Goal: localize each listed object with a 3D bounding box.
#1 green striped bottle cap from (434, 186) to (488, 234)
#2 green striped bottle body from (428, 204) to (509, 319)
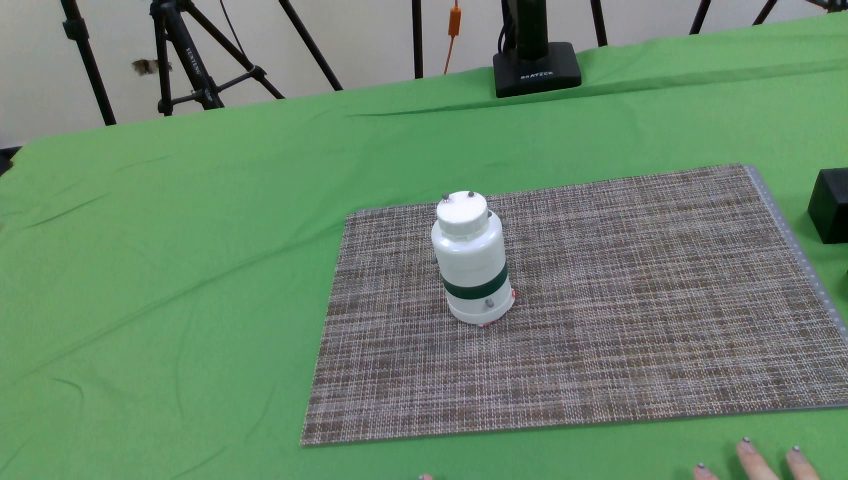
[{"bbox_3d":[0.031,-0.025,0.511,0.044,0.020,0.044,-9,42,9],"label":"green striped bottle cap"},{"bbox_3d":[0.041,0.011,0.547,0.063,0.120,0.062,-8,43,8],"label":"green striped bottle body"}]
